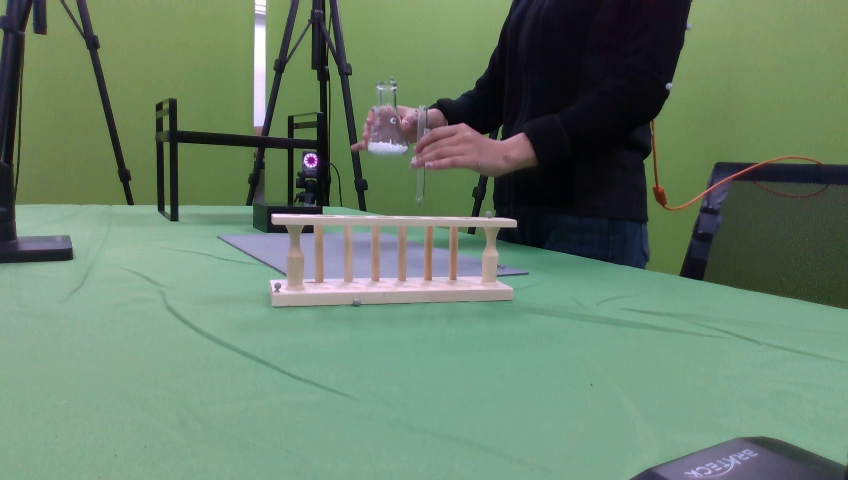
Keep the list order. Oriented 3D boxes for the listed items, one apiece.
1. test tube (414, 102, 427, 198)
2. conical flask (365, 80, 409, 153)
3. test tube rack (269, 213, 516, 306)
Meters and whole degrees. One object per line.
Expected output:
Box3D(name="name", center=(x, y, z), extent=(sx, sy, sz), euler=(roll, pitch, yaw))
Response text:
Box3D(name="test tube", center=(-0.006, -0.142, 0.961), extent=(0.017, 0.150, 0.017), euler=(2, 5, 0))
Box3D(name="conical flask", center=(-0.065, -0.210, 1.031), extent=(0.075, 0.122, 0.075), euler=(-1, 9, 1))
Box3D(name="test tube rack", center=(-0.032, 0.015, 0.617), extent=(0.243, 0.085, 0.066), euler=(0, 7, -17))
